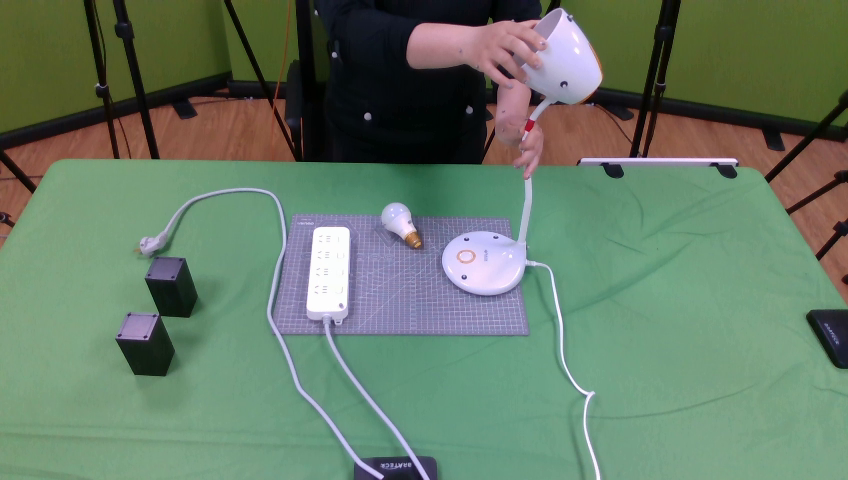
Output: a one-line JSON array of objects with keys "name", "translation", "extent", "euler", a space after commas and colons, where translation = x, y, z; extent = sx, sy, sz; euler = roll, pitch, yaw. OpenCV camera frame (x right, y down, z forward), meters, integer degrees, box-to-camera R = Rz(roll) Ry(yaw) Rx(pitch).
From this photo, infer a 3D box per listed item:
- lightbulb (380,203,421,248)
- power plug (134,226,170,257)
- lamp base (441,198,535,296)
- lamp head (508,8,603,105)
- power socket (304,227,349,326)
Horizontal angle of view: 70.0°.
[{"name": "lightbulb", "translation": [-0.043, -0.026, 1.198], "extent": [0.059, 0.060, 0.107], "euler": [-29, 70, -28]}, {"name": "power plug", "translation": [-0.515, 0.005, 1.153], "extent": [0.052, 0.035, 0.072], "euler": [-6, 24, 7]}, {"name": "lamp base", "translation": [0.129, -0.012, 1.105], "extent": [0.179, 0.181, 0.159], "euler": [-1, 46, -9]}, {"name": "lamp head", "translation": [0.199, -0.255, 0.892], "extent": [0.123, 0.112, 0.112], "euler": [40, 42, -21]}, {"name": "power socket", "translation": [-0.177, 0.059, 1.115], "extent": [0.072, 0.033, 0.225], "euler": [-1, 46, -4]}]
